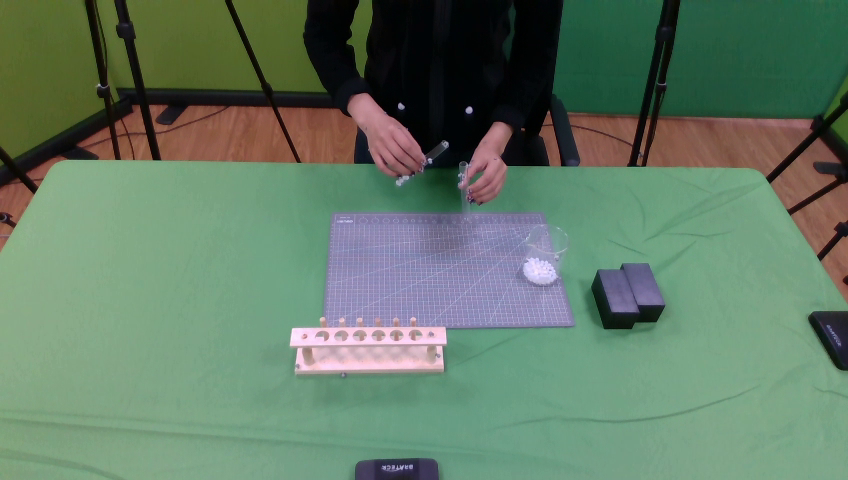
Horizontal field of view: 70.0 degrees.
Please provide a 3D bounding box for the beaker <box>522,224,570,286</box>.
[{"bbox_3d":[0.221,0.032,1.129,0.084,0.101,0.073,-6,46,-9],"label":"beaker"}]

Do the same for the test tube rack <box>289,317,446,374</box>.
[{"bbox_3d":[-0.089,0.167,0.987,0.242,0.085,0.066,0,46,-4],"label":"test tube rack"}]

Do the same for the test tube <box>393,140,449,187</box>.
[{"bbox_3d":[-0.008,-0.139,1.118,0.017,0.150,0.017,25,48,-32],"label":"test tube"}]

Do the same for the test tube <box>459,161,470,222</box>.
[{"bbox_3d":[0.078,-0.089,1.160,0.017,0.151,0.017,-3,47,4],"label":"test tube"}]
